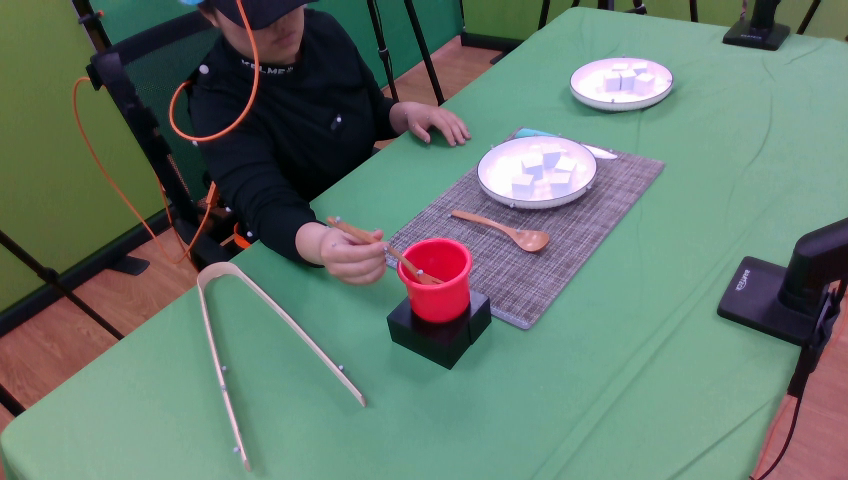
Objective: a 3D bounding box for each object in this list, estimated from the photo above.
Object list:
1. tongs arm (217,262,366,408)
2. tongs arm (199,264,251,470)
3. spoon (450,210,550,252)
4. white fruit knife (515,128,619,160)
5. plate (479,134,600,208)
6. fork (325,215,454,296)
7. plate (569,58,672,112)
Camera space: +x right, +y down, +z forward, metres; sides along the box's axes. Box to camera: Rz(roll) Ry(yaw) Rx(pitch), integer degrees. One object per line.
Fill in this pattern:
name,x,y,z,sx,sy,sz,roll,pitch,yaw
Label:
tongs arm,-0.201,0.122,0.871,0.028,0.028,0.384,-36,46,-24
tongs arm,-0.270,0.154,0.840,0.051,0.026,0.381,-23,41,-17
spoon,0.119,-0.022,0.979,0.192,0.022,0.041,24,68,33
white fruit knife,0.269,-0.182,1.148,0.206,0.016,0.027,21,78,29
plate,0.202,-0.117,1.065,0.207,0.039,0.206,-5,40,5
fork,-0.036,0.021,0.734,0.018,0.209,0.028,-34,40,26
plate,0.411,-0.323,1.274,0.209,0.038,0.208,-5,41,5
